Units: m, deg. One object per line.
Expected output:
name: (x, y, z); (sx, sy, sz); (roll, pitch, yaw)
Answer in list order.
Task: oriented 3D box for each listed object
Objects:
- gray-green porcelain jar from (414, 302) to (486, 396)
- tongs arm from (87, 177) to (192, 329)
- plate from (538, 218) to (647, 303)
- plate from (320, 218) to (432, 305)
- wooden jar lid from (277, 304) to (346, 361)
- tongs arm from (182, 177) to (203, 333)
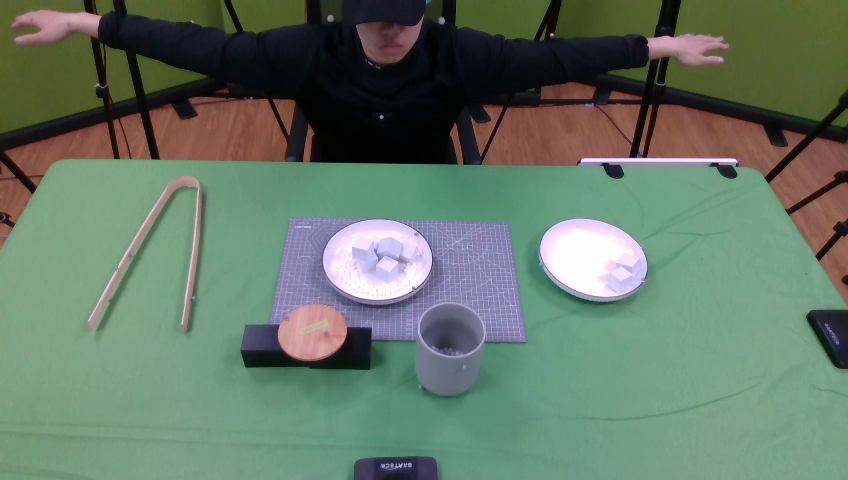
gray-green porcelain jar: (0.038, 0.177, 0.958); (0.106, 0.127, 0.105); (2, 46, -2)
tongs arm: (-0.523, 0.009, 1.139); (0.051, 0.026, 0.382); (6, 45, -2)
plate: (0.322, 0.042, 1.171); (0.208, 0.039, 0.206); (2, 46, -2)
plate: (-0.089, 0.044, 1.134); (0.209, 0.038, 0.208); (3, 46, -2)
wooden jar lid: (-0.179, 0.150, 0.972); (0.108, 0.021, 0.107); (2, 45, -2)
tongs arm: (-0.442, 0.014, 1.148); (0.028, 0.028, 0.385); (-7, 47, -9)
